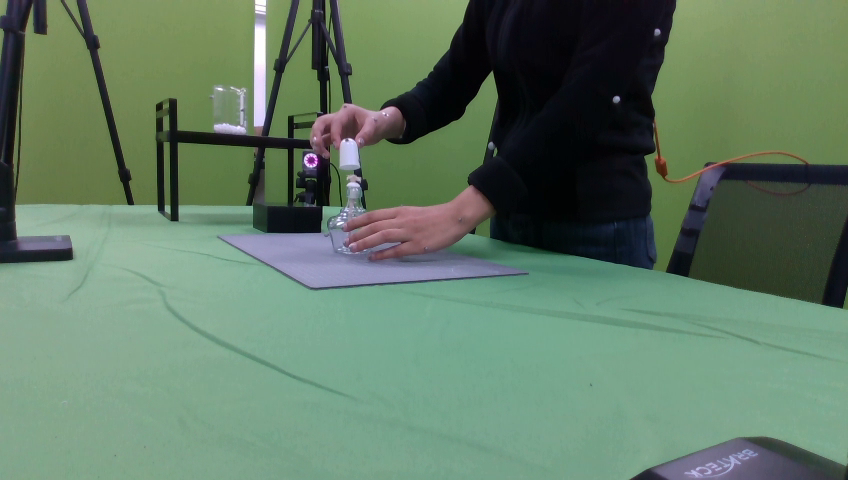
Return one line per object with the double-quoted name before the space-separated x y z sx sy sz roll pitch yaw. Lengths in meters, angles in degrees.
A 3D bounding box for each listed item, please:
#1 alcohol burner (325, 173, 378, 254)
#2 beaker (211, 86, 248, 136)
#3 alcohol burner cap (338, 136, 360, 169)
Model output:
"alcohol burner" -0.107 -0.040 0.895 0.078 0.119 0.078 2 5 0
"beaker" -0.413 -0.274 1.297 0.074 0.100 0.083 -5 11 -44
"alcohol burner cap" -0.112 -0.132 0.907 0.034 0.048 0.034 -1 1 0
